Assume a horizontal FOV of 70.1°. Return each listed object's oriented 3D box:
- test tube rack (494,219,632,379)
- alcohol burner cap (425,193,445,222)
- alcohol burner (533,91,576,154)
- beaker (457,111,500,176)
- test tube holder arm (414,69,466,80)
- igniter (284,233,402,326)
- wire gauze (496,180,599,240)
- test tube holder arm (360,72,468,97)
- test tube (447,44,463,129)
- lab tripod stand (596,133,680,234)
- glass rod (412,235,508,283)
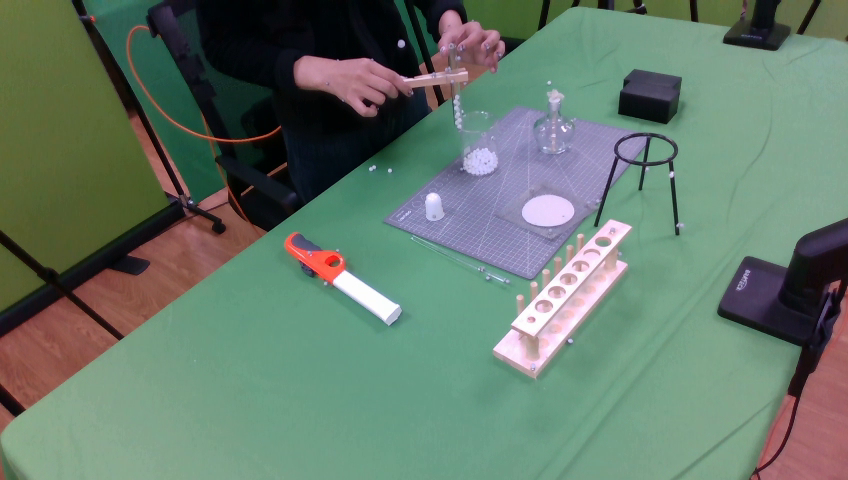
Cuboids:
[{"bbox_3d":[0.191,0.068,0.818,0.066,0.085,0.243,25,51,35],"label":"test tube rack"},{"bbox_3d":[0.017,-0.058,1.029,0.034,0.048,0.033,-6,40,5],"label":"alcohol burner cap"},{"bbox_3d":[0.243,-0.222,1.124,0.078,0.119,0.077,-4,39,4],"label":"alcohol burner"},{"bbox_3d":[0.104,-0.176,1.108,0.073,0.101,0.084,16,46,27],"label":"beaker"},{"bbox_3d":[0.027,-0.266,0.998,0.088,0.015,0.010,-14,32,-12],"label":"test tube holder arm"},{"bbox_3d":[-0.136,0.054,0.942,0.274,0.025,0.057,30,63,37],"label":"igniter"},{"bbox_3d":[0.206,-0.050,1.012,0.125,0.011,0.120,-34,45,-26],"label":"wire gauze"},{"bbox_3d":[-0.016,-0.254,0.987,0.179,0.015,0.013,-11,31,-6],"label":"test tube holder arm"},{"bbox_3d":[0.053,-0.253,1.011,0.017,0.151,0.017,-5,39,5],"label":"test tube"},{"bbox_3d":[0.338,-0.091,0.940,0.148,0.132,0.147,-7,39,6],"label":"lab tripod stand"},{"bbox_3d":[0.051,0.028,0.951,0.198,0.008,0.008,25,51,37],"label":"glass rod"}]
